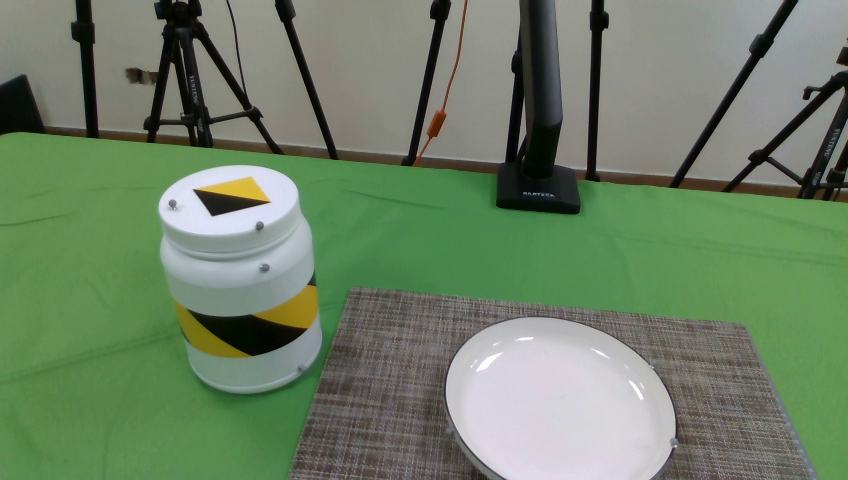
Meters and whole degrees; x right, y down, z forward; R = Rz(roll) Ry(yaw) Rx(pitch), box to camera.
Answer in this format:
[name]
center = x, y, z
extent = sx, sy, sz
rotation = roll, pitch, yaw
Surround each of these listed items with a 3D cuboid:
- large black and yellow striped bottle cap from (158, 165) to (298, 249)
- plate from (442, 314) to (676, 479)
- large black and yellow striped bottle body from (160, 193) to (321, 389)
[large black and yellow striped bottle cap]
center = -0.168, -0.032, 0.525
extent = 0.115, 0.019, 0.114
rotation = 3, 35, -2
[plate]
center = 0.119, 0.152, 0.555
extent = 0.208, 0.039, 0.205
rotation = 2, 36, -1
[large black and yellow striped bottle body]
center = -0.170, 0.036, 0.575
extent = 0.131, 0.185, 0.129
rotation = 2, 36, -1
